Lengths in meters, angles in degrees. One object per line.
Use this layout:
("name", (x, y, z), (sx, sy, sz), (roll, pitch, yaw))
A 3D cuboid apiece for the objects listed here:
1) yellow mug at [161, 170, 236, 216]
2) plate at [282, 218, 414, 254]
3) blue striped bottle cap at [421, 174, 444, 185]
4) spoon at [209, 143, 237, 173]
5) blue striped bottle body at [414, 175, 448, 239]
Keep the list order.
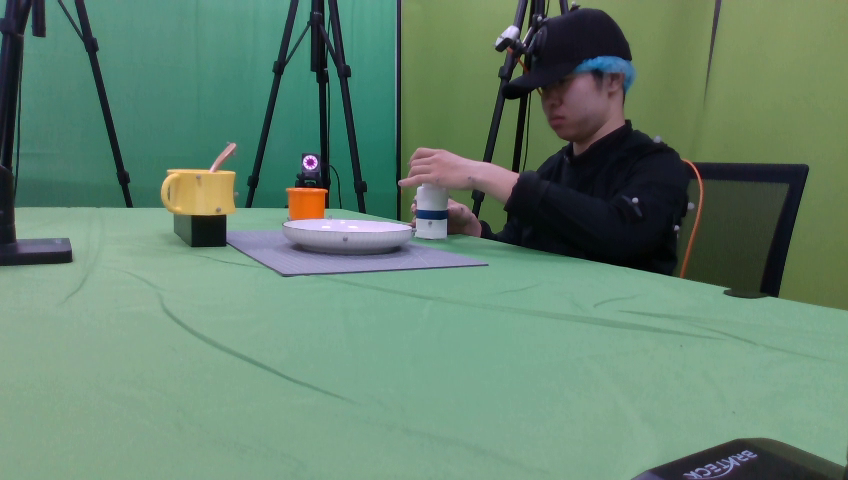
("yellow mug", (-0.354, -0.074, 0.935), (0.099, 0.064, 0.131), (5, 9, 21))
("plate", (-0.121, -0.007, 0.971), (0.208, 0.039, 0.207), (2, 7, 0))
("blue striped bottle cap", (0.016, -0.115, 1.160), (0.044, 0.020, 0.044), (2, 10, 0))
("spoon", (-0.341, -0.113, 0.990), (0.041, 0.021, 0.193), (1, 40, 6))
("blue striped bottle body", (0.014, -0.065, 1.166), (0.063, 0.120, 0.063), (2, 8, 0))
